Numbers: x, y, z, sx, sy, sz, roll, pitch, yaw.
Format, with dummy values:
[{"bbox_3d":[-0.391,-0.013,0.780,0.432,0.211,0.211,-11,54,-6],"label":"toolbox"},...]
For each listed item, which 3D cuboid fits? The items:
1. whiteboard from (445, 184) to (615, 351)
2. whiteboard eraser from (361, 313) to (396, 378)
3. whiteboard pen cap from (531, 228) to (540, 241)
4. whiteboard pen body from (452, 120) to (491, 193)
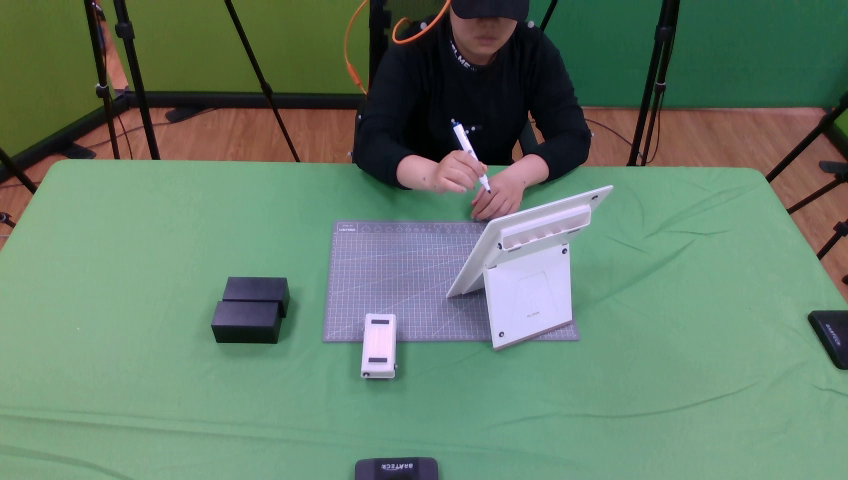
[{"bbox_3d":[0.187,0.065,0.989,0.217,0.306,0.143,-16,68,-18],"label":"whiteboard"},{"bbox_3d":[-0.075,0.176,1.006,0.055,0.042,0.112,3,50,-4],"label":"whiteboard eraser"},{"bbox_3d":[0.225,-0.012,1.221,0.018,0.018,0.033,13,29,8],"label":"whiteboard pen cap"},{"bbox_3d":[0.086,-0.146,1.071,0.017,0.017,0.141,-31,99,-29],"label":"whiteboard pen body"}]
